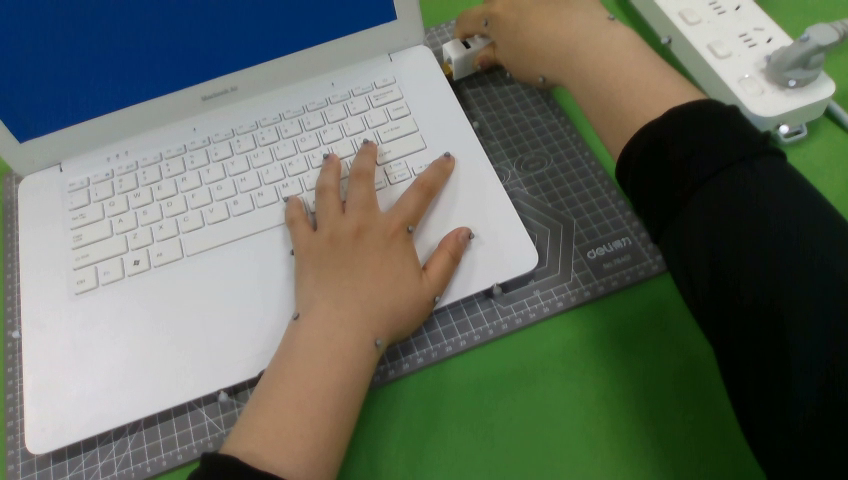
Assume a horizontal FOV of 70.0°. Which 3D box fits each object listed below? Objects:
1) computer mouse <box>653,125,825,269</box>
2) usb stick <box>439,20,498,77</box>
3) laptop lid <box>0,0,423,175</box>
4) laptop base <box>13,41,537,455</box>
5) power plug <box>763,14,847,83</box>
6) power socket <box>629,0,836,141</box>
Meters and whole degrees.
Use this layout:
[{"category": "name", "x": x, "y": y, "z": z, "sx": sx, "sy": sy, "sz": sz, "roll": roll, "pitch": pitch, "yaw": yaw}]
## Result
[{"category": "computer mouse", "x": 0.212, "y": -0.036, "z": 0.413, "sx": 0.063, "sy": 0.041, "sz": 0.116, "roll": -22, "pitch": 55, "yaw": -5}, {"category": "usb stick", "x": 0.031, "y": -0.155, "z": 0.501, "sx": 0.059, "sy": 0.027, "sz": 0.021, "roll": -30, "pitch": 63, "yaw": -3}, {"category": "laptop lid", "x": -0.184, "y": -0.186, "z": 0.422, "sx": 0.357, "sy": 0.244, "sz": 0.013, "roll": -21, "pitch": 48, "yaw": -4}, {"category": "laptop base", "x": -0.123, "y": -0.015, "z": 0.453, "sx": 0.354, "sy": 0.023, "sz": 0.233, "roll": -20, "pitch": 64, "yaw": -6}, {"category": "power plug", "x": 0.286, "y": -0.134, "z": 0.441, "sx": 0.072, "sy": 0.053, "sz": 0.035, "roll": -10, "pitch": 62, "yaw": 0}, {"category": "power socket", "x": 0.237, "y": -0.173, "z": 0.492, "sx": 0.072, "sy": 0.033, "sz": 0.224, "roll": -20, "pitch": 59, "yaw": -4}]
